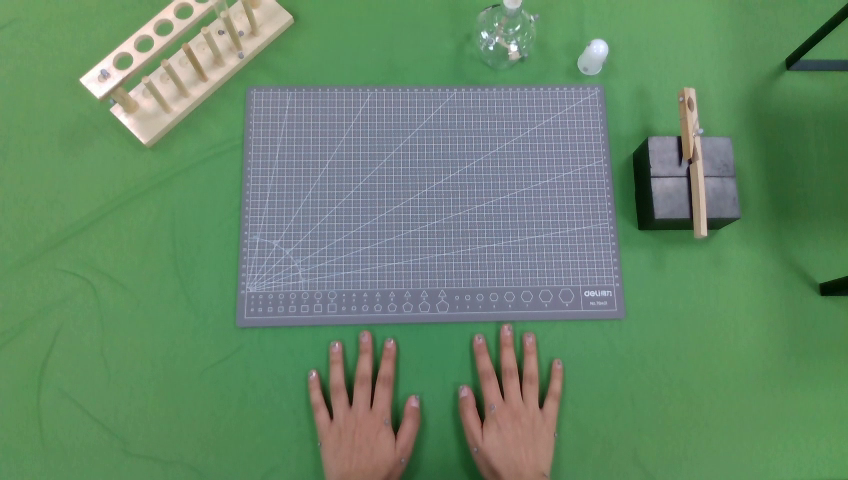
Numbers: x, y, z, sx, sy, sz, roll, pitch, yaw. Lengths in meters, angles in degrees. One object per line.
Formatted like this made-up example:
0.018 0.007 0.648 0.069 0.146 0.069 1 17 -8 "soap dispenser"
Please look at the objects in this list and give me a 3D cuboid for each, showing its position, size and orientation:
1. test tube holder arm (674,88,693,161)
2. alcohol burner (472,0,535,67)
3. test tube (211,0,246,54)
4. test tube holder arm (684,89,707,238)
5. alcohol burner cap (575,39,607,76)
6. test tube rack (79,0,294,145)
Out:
0.304 -0.135 0.708 0.010 0.015 0.087 1 78 -10 "test tube holder arm"
0.099 -0.262 0.731 0.078 0.119 0.077 1 75 -3 "alcohol burner"
-0.228 -0.260 0.684 0.017 0.151 0.017 1 74 -2 "test tube"
0.311 -0.091 0.700 0.013 0.015 0.177 0 78 -10 "test tube holder arm"
0.213 -0.233 0.765 0.034 0.048 0.033 1 76 -2 "alcohol burner cap"
-0.273 -0.230 0.721 0.066 0.085 0.242 43 79 8 "test tube rack"
